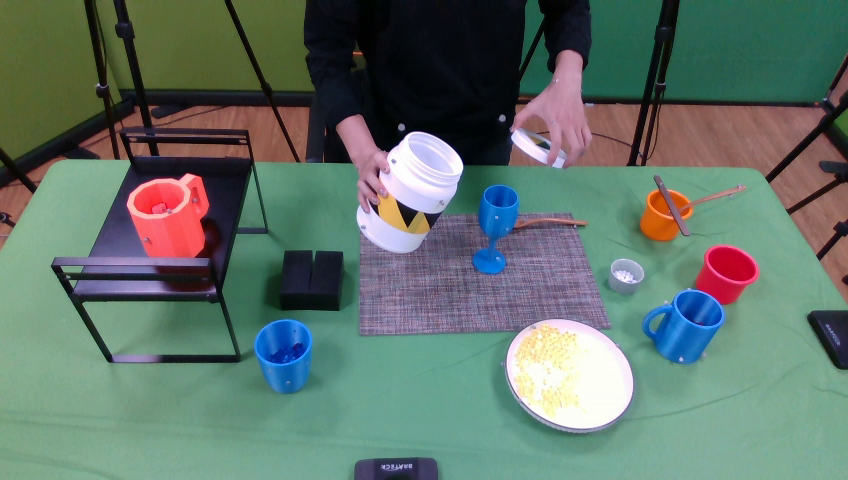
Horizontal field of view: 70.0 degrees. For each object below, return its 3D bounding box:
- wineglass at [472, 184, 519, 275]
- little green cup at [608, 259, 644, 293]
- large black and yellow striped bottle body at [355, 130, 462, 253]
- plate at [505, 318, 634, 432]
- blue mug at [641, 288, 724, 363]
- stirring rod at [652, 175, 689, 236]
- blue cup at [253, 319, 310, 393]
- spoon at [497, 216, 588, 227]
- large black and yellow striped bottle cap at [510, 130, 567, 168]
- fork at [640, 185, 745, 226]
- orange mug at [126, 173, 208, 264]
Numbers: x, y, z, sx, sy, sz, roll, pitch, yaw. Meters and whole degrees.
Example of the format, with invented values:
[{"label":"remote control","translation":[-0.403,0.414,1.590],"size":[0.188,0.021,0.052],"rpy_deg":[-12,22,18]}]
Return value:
[{"label":"wineglass","translation":[0.129,-0.018,1.113],"size":[0.074,0.173,0.073],"rpy_deg":[2,46,-2]},{"label":"little green cup","translation":[0.379,0.070,1.147],"size":[0.061,0.039,0.061],"rpy_deg":[3,45,-2]},{"label":"large black and yellow striped bottle body","translation":[-0.026,-0.083,1.036],"size":[0.131,0.184,0.130],"rpy_deg":[22,36,-17]},{"label":"plate","translation":[0.235,0.221,0.991],"size":[0.209,0.038,0.208],"rpy_deg":[2,45,-2]},{"label":"blue mug","translation":[0.432,0.144,1.033],"size":[0.116,0.106,0.082],"rpy_deg":[8,46,5]},{"label":"stirring rod","translation":[0.491,-0.072,1.211],"size":[0.014,0.006,0.175],"rpy_deg":[0,47,-6]},{"label":"blue cup","translation":[-0.217,0.187,0.943],"size":[0.093,0.101,0.092],"rpy_deg":[4,45,-3]},{"label":"spoon","translation":[0.245,-0.039,1.247],"size":[0.194,0.022,0.041],"rpy_deg":[-2,24,-6]},{"label":"large black and yellow striped bottle cap","translation":[0.218,-0.173,1.147],"size":[0.115,0.019,0.114],"rpy_deg":[22,26,-11]},{"label":"fork","translation":[0.534,-0.069,1.215],"size":[0.207,0.019,0.028],"rpy_deg":[-26,27,33]},{"label":"orange mug","translation":[-0.371,-0.040,0.902],"size":[0.083,0.101,0.126],"rpy_deg":[18,52,13]}]
